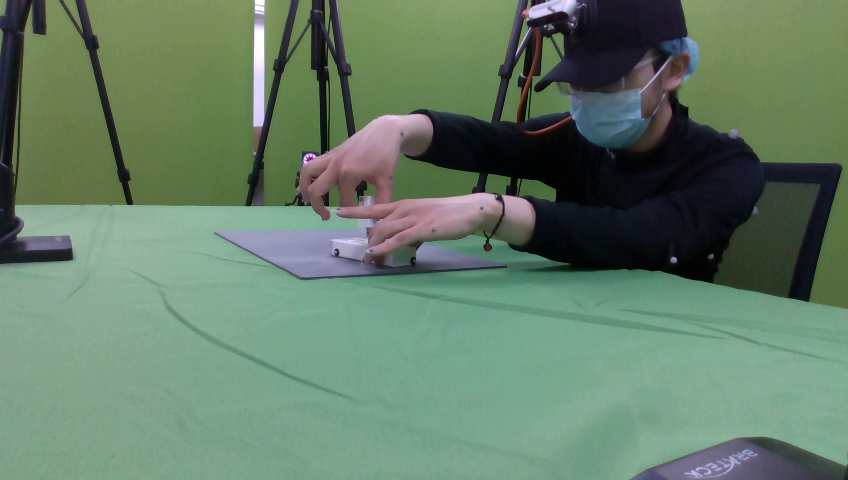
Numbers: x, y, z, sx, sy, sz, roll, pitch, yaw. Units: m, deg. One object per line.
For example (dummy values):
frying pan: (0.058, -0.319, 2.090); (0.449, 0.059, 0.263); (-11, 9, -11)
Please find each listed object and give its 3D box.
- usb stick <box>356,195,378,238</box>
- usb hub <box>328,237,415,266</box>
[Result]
usb stick: (-0.079, -0.032, 0.840); (0.021, 0.059, 0.027); (2, 3, 31)
usb hub: (-0.074, 0.015, 0.834); (0.124, 0.025, 0.050); (7, 8, 39)
